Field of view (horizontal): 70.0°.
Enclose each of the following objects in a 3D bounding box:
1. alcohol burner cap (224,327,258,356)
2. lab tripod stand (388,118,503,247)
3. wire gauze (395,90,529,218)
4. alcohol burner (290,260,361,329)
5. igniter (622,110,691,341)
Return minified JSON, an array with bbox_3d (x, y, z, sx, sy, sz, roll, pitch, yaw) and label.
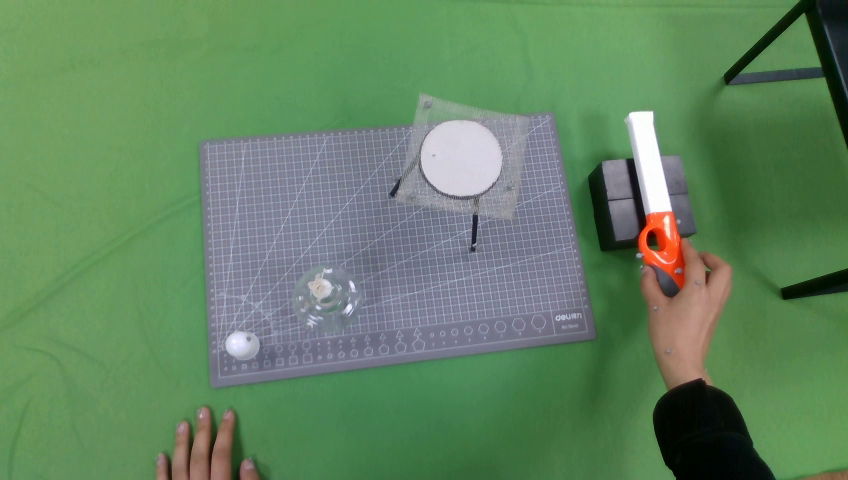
[{"bbox_3d":[-0.206,0.111,0.672,0.034,0.048,0.033,1,76,-5],"label":"alcohol burner cap"},{"bbox_3d":[0.034,-0.074,0.690,0.148,0.132,0.147,1,74,-4],"label":"lab tripod stand"},{"bbox_3d":[0.042,-0.089,0.625,0.121,0.011,0.124,12,75,-2],"label":"wire gauze"},{"bbox_3d":[-0.108,0.057,0.657,0.078,0.119,0.077,1,78,-4],"label":"alcohol burner"},{"bbox_3d":[0.270,-0.022,0.706,0.057,0.025,0.275,-4,77,-7],"label":"igniter"}]
